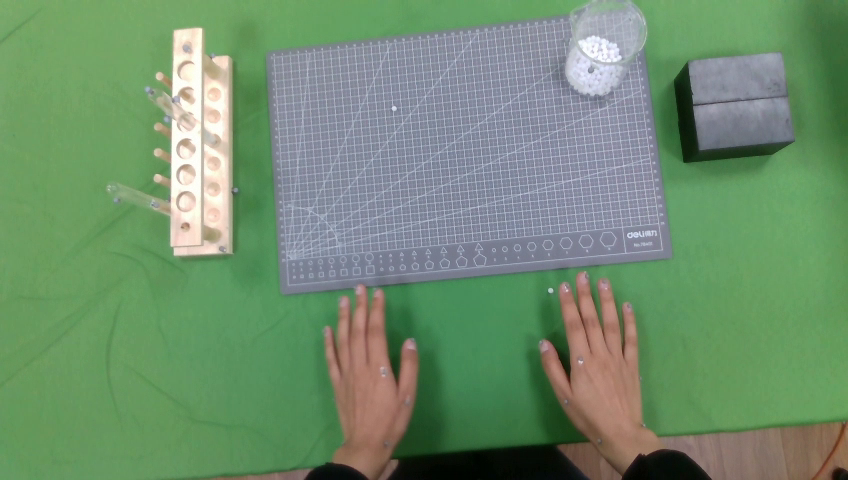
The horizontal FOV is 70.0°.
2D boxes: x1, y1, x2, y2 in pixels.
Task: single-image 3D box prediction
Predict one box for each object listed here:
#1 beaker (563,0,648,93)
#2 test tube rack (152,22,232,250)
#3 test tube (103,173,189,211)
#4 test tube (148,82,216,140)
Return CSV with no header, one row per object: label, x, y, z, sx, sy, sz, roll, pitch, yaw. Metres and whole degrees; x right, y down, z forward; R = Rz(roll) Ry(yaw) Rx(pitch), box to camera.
beaker,0.190,-0.212,0.663,0.083,0.100,0.074,32,86,9
test tube rack,-0.270,-0.114,0.697,0.067,0.085,0.241,-3,83,4
test tube,-0.290,-0.046,0.645,0.017,0.151,0.017,-1,82,6
test tube,-0.254,-0.134,0.648,0.017,0.150,0.017,0,83,0
